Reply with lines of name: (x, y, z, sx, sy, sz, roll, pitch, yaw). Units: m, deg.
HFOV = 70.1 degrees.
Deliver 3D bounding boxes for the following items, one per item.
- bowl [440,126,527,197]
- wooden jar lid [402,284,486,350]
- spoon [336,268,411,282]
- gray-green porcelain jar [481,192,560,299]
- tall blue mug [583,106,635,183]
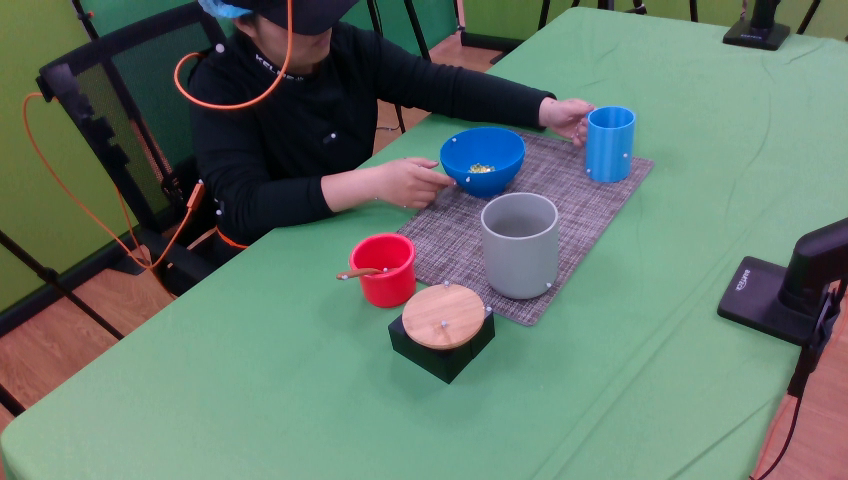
bowl: (0.107, -0.129, 1.070, 0.151, 0.077, 0.150, -5, 40, 5)
wooden jar lid: (0.026, 0.101, 0.786, 0.108, 0.021, 0.108, -5, 39, 4)
spoon: (-0.071, 0.047, 0.850, 0.041, 0.195, 0.021, 19, 93, 23)
gray-green porcelain jar: (0.138, 0.012, 0.858, 0.106, 0.127, 0.105, -6, 40, 5)
tall blue mug: (0.311, -0.170, 1.054, 0.106, 0.108, 0.078, 25, 52, 35)
